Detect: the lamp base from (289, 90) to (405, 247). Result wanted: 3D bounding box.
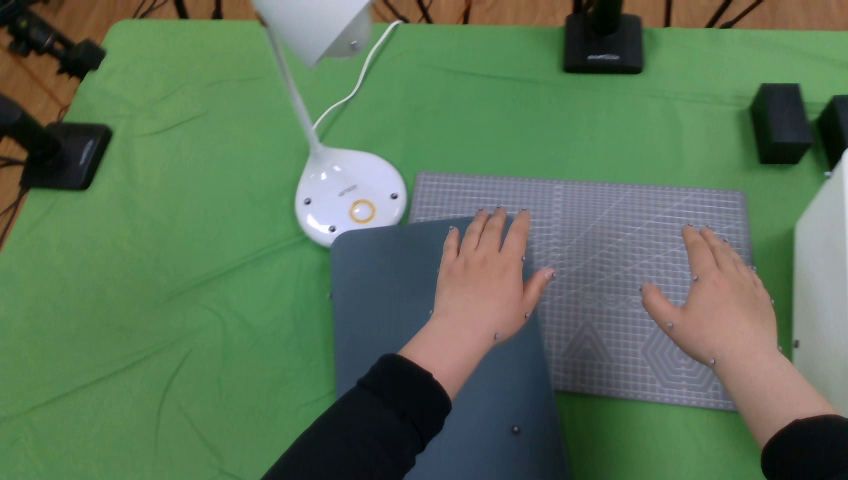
[{"bbox_3d":[-0.124,-0.102,0.799,0.160,0.182,0.177,-41,63,-14],"label":"lamp base"}]

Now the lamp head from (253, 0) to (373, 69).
[{"bbox_3d":[-0.107,-0.229,0.528,0.123,0.112,0.112,40,71,-13],"label":"lamp head"}]

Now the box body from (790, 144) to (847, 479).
[{"bbox_3d":[0.540,0.100,0.629,0.253,0.162,0.361,11,65,12],"label":"box body"}]

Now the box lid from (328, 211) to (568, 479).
[{"bbox_3d":[0.017,0.138,0.749,0.263,0.015,0.368,-7,66,1],"label":"box lid"}]
